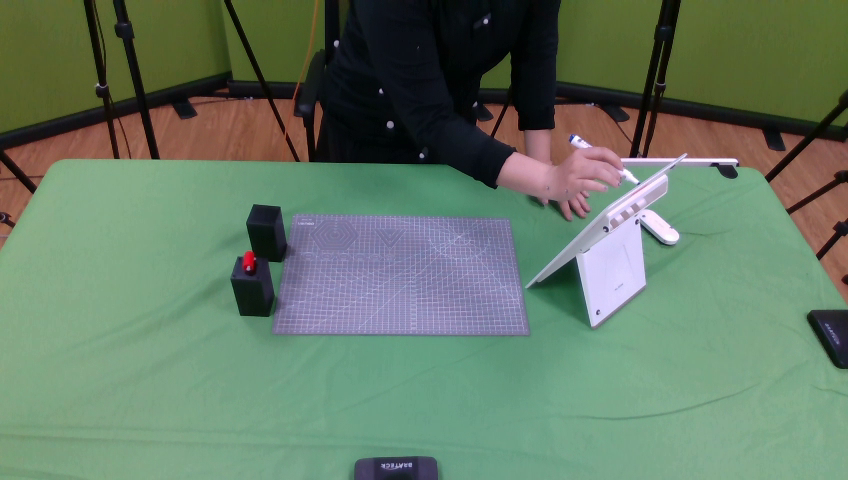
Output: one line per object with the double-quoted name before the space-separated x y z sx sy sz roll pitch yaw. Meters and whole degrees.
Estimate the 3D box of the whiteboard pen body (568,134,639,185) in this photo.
"whiteboard pen body" 0.295 -0.129 0.989 0.140 0.017 0.017 38 53 12

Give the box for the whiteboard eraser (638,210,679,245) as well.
"whiteboard eraser" 0.486 -0.026 1.260 0.041 0.019 0.100 -20 50 -20

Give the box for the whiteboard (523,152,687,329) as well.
"whiteboard" 0.347 0.025 1.046 0.217 0.306 0.143 -30 74 -29

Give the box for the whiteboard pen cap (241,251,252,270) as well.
"whiteboard pen cap" -0.293 0.033 1.006 0.017 0.017 0.032 -3 44 -7
